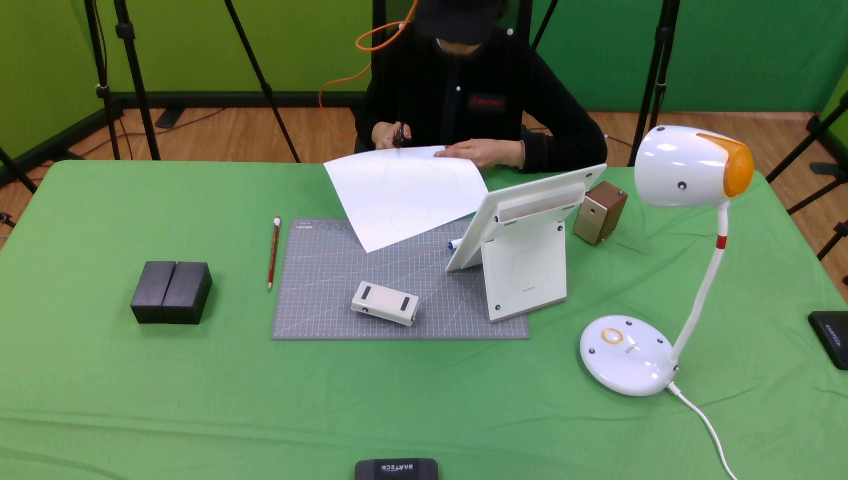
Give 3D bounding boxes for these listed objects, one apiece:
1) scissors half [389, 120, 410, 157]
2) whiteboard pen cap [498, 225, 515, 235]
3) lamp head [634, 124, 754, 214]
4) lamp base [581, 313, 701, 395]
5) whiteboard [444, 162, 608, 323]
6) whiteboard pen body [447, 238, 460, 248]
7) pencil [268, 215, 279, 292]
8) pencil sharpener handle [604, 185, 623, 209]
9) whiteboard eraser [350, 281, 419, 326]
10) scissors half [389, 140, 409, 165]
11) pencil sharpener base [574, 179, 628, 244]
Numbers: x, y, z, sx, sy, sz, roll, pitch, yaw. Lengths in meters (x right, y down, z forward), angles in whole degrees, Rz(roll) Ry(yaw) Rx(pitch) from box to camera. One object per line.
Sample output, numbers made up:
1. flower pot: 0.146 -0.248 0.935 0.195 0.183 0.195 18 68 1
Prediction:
1. scissors half: -0.056 -0.220 1.326 0.013 0.040 0.174 1 34 13
2. whiteboard pen cap: 0.166 -0.019 1.222 0.033 0.018 0.018 -14 49 -19
3. lamp head: 0.351 -0.089 0.775 0.112 0.113 0.122 -30 30 -28
4. lamp base: 0.361 0.144 0.973 0.178 0.181 0.160 34 53 23
5. whiteboard: 0.186 0.025 1.029 0.217 0.306 0.143 -14 68 -18
6. whiteboard pen body: 0.112 -0.006 1.204 0.141 0.017 0.017 -14 49 -18
7. pencil: -0.290 0.022 1.164 0.012 0.012 0.192 -2 48 -6
8. pencil sharpener handle: 0.390 -0.091 1.235 0.030 0.068 0.036 -33 69 -31
9. whiteboard eraser: -0.069 0.113 1.065 0.112 0.042 0.055 14 46 9
10. scissors half: -0.056 -0.196 1.332 0.013 0.175 0.040 6 85 11
11. pencil sharpener base: 0.355 -0.057 1.217 0.076 0.107 0.061 -33 56 -31
